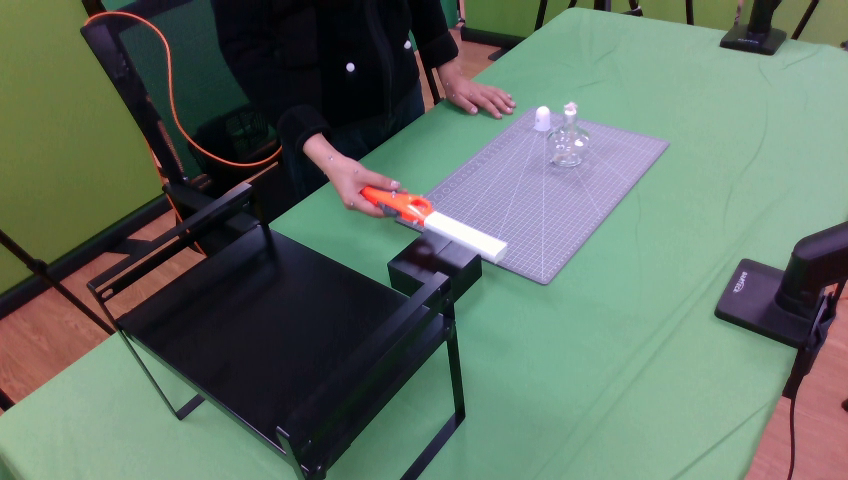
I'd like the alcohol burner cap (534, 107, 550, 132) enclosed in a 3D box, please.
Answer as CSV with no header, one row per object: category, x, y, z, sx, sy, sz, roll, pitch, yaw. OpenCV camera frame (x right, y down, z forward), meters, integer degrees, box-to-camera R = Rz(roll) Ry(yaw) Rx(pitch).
alcohol burner cap,0.236,-0.243,1.206,0.034,0.048,0.033,-4,39,3

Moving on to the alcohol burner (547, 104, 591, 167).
alcohol burner,0.260,-0.192,1.087,0.078,0.119,0.077,-5,42,5

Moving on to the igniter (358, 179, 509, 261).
igniter,0.002,-0.035,0.883,0.274,0.025,0.057,26,47,32
